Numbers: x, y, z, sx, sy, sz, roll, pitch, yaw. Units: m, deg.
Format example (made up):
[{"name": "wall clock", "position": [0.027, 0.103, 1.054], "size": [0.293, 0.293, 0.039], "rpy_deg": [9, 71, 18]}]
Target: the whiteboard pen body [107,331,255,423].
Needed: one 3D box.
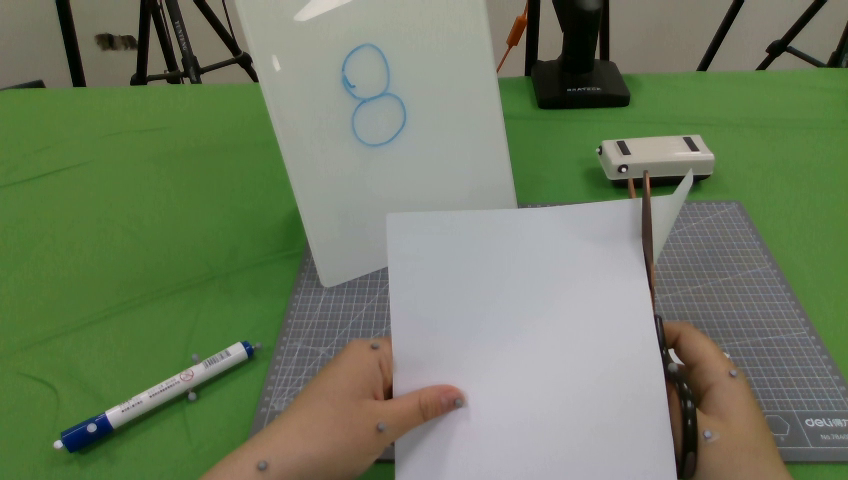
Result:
[{"name": "whiteboard pen body", "position": [-0.198, 0.110, 0.471], "size": [0.141, 0.017, 0.017], "rpy_deg": [-28, 47, -27]}]

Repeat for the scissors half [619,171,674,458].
[{"name": "scissors half", "position": [0.130, 0.043, 0.372], "size": [0.013, 0.174, 0.040], "rpy_deg": [-2, -5, -22]}]

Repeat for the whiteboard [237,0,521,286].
[{"name": "whiteboard", "position": [-0.053, -0.149, 0.593], "size": [0.217, 0.307, 0.142], "rpy_deg": [-20, 23, -17]}]

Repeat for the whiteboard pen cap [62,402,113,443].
[{"name": "whiteboard pen cap", "position": [-0.245, 0.132, 0.445], "size": [0.033, 0.018, 0.018], "rpy_deg": [-28, 47, -28]}]

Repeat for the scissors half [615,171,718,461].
[{"name": "scissors half", "position": [0.136, 0.038, 0.354], "size": [0.013, 0.040, 0.174], "rpy_deg": [-4, 68, -17]}]

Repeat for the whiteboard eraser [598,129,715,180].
[{"name": "whiteboard eraser", "position": [0.254, -0.094, 0.666], "size": [0.113, 0.042, 0.055], "rpy_deg": [-2, 43, 0]}]
